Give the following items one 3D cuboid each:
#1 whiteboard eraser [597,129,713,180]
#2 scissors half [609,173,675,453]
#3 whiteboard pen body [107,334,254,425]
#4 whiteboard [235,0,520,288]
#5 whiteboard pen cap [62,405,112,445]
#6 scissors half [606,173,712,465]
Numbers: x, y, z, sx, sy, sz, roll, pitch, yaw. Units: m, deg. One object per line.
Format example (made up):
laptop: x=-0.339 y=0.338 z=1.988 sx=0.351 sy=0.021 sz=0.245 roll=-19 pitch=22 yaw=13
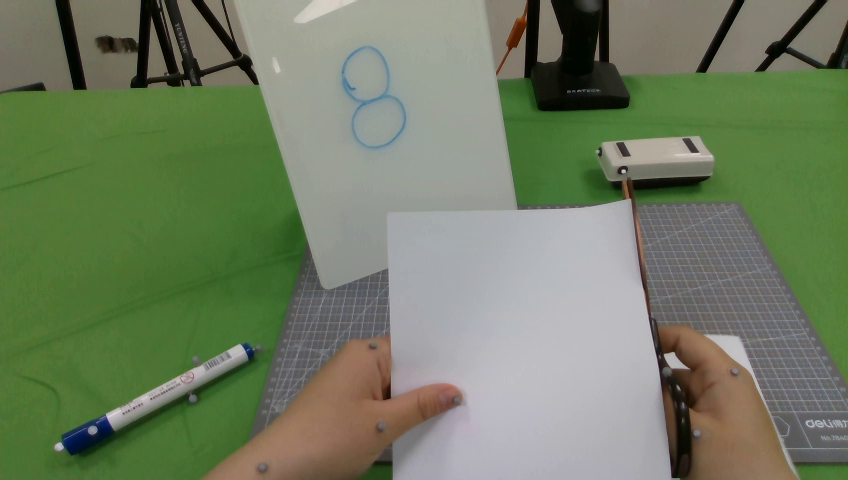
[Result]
whiteboard eraser: x=0.253 y=-0.093 z=0.668 sx=0.113 sy=0.042 sz=0.055 roll=-2 pitch=43 yaw=0
scissors half: x=0.130 y=0.045 z=0.373 sx=0.013 sy=0.175 sz=0.040 roll=-12 pitch=4 yaw=-14
whiteboard pen body: x=-0.198 y=0.112 z=0.471 sx=0.141 sy=0.017 sz=0.017 roll=-28 pitch=47 yaw=-28
whiteboard: x=-0.054 y=-0.147 z=0.594 sx=0.217 sy=0.307 sz=0.142 roll=-20 pitch=23 yaw=-18
whiteboard pen cap: x=-0.245 y=0.134 z=0.445 sx=0.033 sy=0.018 sz=0.018 roll=-28 pitch=47 yaw=-28
scissors half: x=0.133 y=0.042 z=0.353 sx=0.013 sy=0.040 sz=0.174 roll=-13 pitch=76 yaw=-8
